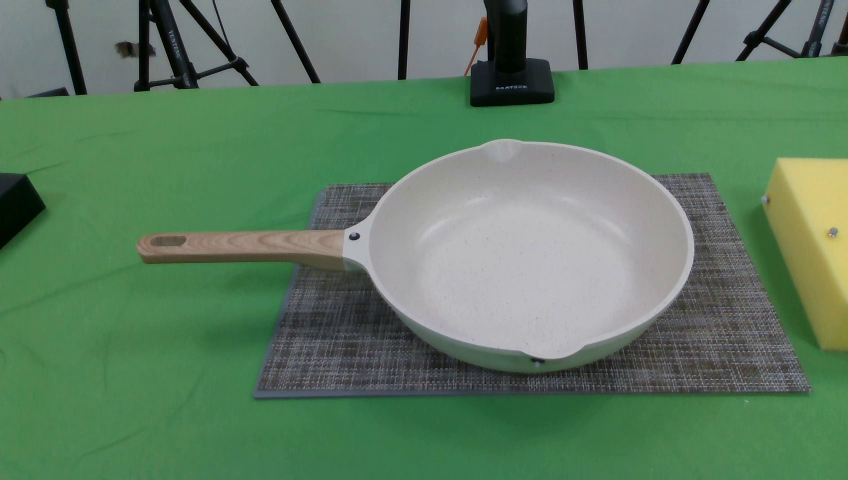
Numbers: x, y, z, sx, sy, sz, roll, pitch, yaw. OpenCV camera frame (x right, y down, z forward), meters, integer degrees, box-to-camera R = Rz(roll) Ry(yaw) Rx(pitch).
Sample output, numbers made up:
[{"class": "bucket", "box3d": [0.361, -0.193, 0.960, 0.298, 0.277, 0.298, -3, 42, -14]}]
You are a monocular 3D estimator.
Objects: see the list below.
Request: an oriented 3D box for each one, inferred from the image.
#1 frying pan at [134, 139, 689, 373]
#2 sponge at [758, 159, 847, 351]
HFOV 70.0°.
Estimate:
[{"class": "frying pan", "box3d": [-0.015, 0.007, 0.563, 0.488, 0.103, 0.303, 2, 39, -3]}, {"class": "sponge", "box3d": [0.399, 0.007, 0.551, 0.118, 0.061, 0.205, 2, 40, 9]}]
